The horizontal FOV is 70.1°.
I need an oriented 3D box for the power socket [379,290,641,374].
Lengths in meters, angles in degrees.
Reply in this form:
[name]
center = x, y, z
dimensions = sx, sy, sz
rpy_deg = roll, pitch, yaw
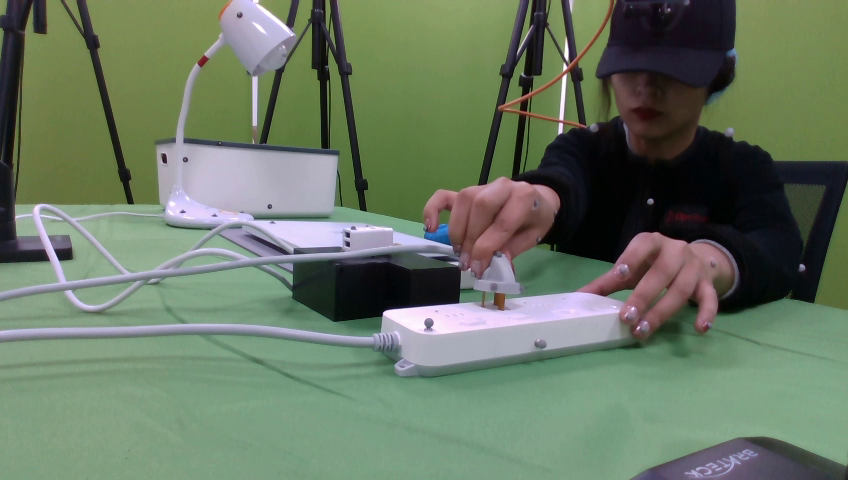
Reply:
[power socket]
center = 0.071, 0.064, 0.460
dimensions = 0.228, 0.032, 0.072
rpy_deg = -2, 7, -30

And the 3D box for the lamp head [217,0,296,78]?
[lamp head]
center = -0.315, -0.372, 1.102
dimensions = 0.123, 0.112, 0.112
rpy_deg = 41, 2, -9

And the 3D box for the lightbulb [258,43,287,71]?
[lightbulb]
center = -0.296, -0.357, 1.101
dimensions = 0.059, 0.107, 0.059
rpy_deg = -38, 2, 2

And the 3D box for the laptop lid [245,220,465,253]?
[laptop lid]
center = -0.124, -0.009, 0.945
dimensions = 0.243, 0.013, 0.355
rpy_deg = 1, 7, -29

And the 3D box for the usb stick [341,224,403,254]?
[usb stick]
center = -0.047, -0.001, 0.567
dimensions = 0.059, 0.027, 0.021
rpy_deg = 0, 6, -32

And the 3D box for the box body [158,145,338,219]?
[box body]
center = -0.410, -0.139, 1.414
dimensions = 0.366, 0.160, 0.253
rpy_deg = -3, 9, -32

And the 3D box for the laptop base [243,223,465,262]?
[laptop base]
center = -0.127, 0.003, 0.945
dimensions = 0.237, 0.023, 0.352
rpy_deg = 2, 6, -31

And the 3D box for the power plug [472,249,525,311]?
[power plug]
center = 0.048, 0.033, 0.443
dimensions = 0.035, 0.052, 0.073
rpy_deg = -14, -5, 37

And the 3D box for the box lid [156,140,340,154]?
[box lid]
center = -0.410, -0.212, 1.404
dimensions = 0.373, 0.015, 0.262
rpy_deg = -2, 8, -32

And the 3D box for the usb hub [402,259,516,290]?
[usb hub]
center = 0.041, 0.038, 0.689
dimensions = 0.126, 0.025, 0.049
rpy_deg = -2, 10, -30

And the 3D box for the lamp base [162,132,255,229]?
[lamp base]
center = -0.420, -0.116, 1.156
dimensions = 0.179, 0.180, 0.160
rpy_deg = 0, 7, 0

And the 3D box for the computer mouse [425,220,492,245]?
[computer mouse]
center = 0.060, -0.013, 1.059
dimensions = 0.117, 0.041, 0.062
rpy_deg = -3, 10, -5
